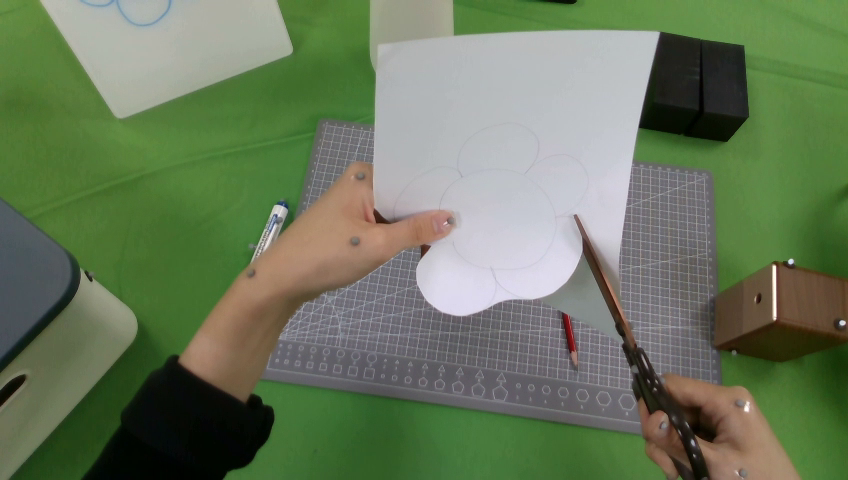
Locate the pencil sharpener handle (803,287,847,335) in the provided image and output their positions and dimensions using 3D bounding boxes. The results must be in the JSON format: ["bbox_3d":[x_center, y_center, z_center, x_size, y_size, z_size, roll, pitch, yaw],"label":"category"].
[{"bbox_3d":[0.383,0.071,0.560,0.030,0.068,0.035,12,62,0],"label":"pencil sharpener handle"}]

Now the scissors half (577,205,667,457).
[{"bbox_3d":[0.124,0.058,0.376,0.013,0.040,0.176,-22,105,4],"label":"scissors half"}]

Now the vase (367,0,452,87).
[{"bbox_3d":[-0.016,-0.253,0.636,0.098,0.201,0.097,0,67,0],"label":"vase"}]

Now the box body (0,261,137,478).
[{"bbox_3d":[-0.475,0.045,0.521,0.362,0.161,0.253,33,71,11],"label":"box body"}]

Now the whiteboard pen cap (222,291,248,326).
[{"bbox_3d":[-0.185,0.067,0.597,0.018,0.018,0.033,14,64,4],"label":"whiteboard pen cap"}]

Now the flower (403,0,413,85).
[{"bbox_3d":[-0.020,-0.298,0.564,0.044,0.365,0.038,1,50,2],"label":"flower"}]

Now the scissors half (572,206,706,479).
[{"bbox_3d":[0.124,0.060,0.355,0.013,0.040,0.174,-23,83,-1],"label":"scissors half"}]

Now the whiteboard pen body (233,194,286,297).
[{"bbox_3d":[-0.171,0.015,0.621,0.017,0.017,0.140,14,67,4],"label":"whiteboard pen body"}]

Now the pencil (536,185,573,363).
[{"bbox_3d":[0.136,0.031,0.628,0.012,0.012,0.192,-5,70,-4],"label":"pencil"}]

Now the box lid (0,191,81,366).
[{"bbox_3d":[-0.475,0.016,0.452,0.370,0.015,0.262,34,71,11],"label":"box lid"}]

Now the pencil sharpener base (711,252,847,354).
[{"bbox_3d":[0.332,0.063,0.571,0.077,0.107,0.061,12,68,0],"label":"pencil sharpener base"}]

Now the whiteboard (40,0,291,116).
[{"bbox_3d":[-0.303,-0.327,0.630,0.217,0.308,0.142,-25,52,-11],"label":"whiteboard"}]
